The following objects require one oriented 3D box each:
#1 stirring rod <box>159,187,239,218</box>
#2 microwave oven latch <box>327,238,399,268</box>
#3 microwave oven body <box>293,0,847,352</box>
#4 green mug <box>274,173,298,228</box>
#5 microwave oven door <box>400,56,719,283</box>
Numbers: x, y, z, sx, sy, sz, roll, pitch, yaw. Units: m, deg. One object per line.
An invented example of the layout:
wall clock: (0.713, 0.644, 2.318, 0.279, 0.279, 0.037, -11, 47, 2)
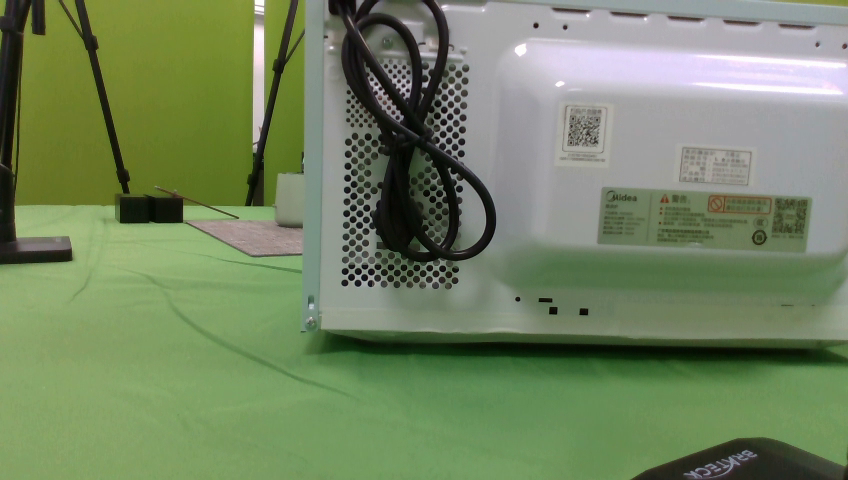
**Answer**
stirring rod: (-0.472, -0.077, 1.278, 0.177, 0.006, 0.014, 23, -8, -38)
microwave oven latch: (-0.069, 0.015, 0.694, 0.079, 0.029, 0.030, 3, 7, -3)
microwave oven body: (0.122, -0.055, 0.550, 0.442, 0.260, 0.325, 3, 7, -5)
green mug: (-0.242, -0.081, 1.221, 0.092, 0.105, 0.126, 8, 9, 39)
microwave oven door: (0.155, -0.077, 0.697, 0.356, 0.243, 0.039, 2, 8, -5)
